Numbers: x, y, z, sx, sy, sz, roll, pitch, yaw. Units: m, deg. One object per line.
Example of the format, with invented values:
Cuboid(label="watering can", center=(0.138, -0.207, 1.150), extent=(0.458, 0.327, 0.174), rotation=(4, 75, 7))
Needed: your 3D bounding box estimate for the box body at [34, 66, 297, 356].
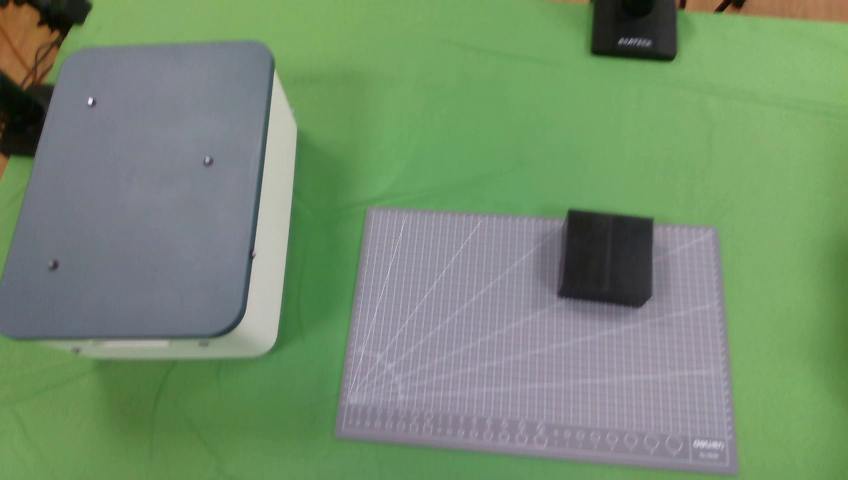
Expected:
Cuboid(label="box body", center=(-0.302, -0.045, 0.735), extent=(0.254, 0.161, 0.361), rotation=(-1, 68, 3))

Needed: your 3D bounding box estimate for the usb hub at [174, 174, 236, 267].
Cuboid(label="usb hub", center=(-0.285, -0.027, 0.791), extent=(0.049, 0.025, 0.124), rotation=(3, 67, 7))

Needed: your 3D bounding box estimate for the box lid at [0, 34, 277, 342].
Cuboid(label="box lid", center=(-0.307, -0.071, 0.666), extent=(0.263, 0.015, 0.368), rotation=(-1, 68, 3))
